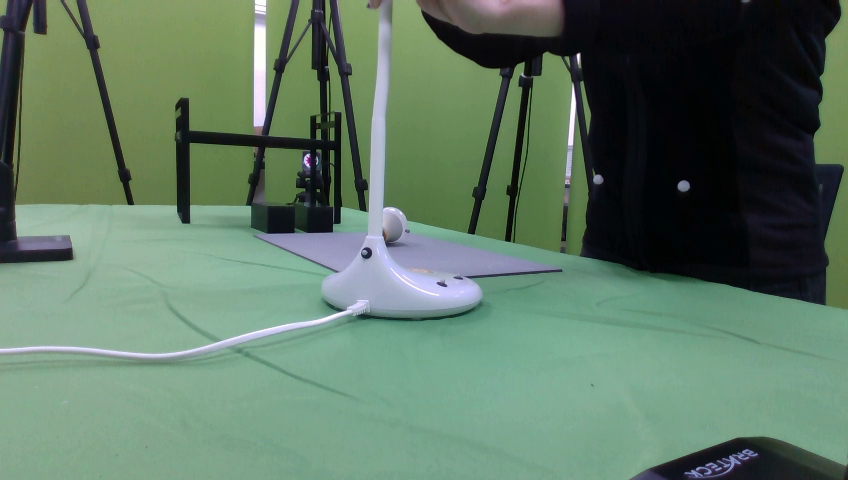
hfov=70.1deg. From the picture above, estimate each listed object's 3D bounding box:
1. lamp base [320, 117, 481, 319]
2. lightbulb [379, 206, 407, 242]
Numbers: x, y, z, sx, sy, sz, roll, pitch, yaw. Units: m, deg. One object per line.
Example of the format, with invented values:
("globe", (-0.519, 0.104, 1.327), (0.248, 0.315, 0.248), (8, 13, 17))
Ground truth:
("lamp base", (-0.024, -0.025, 0.579), (0.160, 0.180, 0.179), (4, 10, 16))
("lightbulb", (-0.067, -0.019, 1.000), (0.059, 0.059, 0.108), (5, 23, 20))
